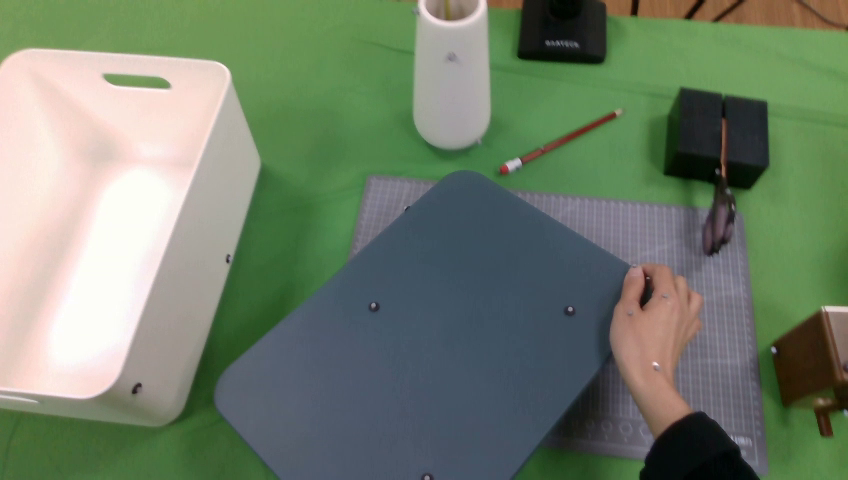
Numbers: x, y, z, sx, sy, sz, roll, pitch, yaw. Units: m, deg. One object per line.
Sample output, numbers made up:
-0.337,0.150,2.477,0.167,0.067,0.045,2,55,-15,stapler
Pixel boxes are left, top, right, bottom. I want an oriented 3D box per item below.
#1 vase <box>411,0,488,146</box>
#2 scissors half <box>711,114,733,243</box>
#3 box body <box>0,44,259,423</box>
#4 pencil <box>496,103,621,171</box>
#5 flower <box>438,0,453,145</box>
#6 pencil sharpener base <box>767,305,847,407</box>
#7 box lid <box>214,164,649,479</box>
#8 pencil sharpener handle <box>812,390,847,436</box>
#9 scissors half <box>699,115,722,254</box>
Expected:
0.028,-0.199,0.701,0.098,0.201,0.097,-1,61,3,vase
0.331,-0.075,0.676,0.013,0.040,0.174,9,59,8,scissors half
-0.344,-0.008,0.633,0.254,0.161,0.361,5,63,5,box body
0.174,-0.133,0.768,0.194,0.012,0.012,-29,64,-14,pencil
0.019,-0.251,0.634,0.044,0.365,0.038,0,45,6,flower
0.386,0.116,0.576,0.061,0.108,0.076,2,63,3,pencil sharpener base
0.014,0.092,0.577,0.261,0.015,0.371,36,67,24,box lid
0.379,0.155,0.542,0.036,0.068,0.030,8,62,-9,pencil sharpener handle
0.331,-0.066,0.694,0.013,0.040,0.174,11,76,4,scissors half
